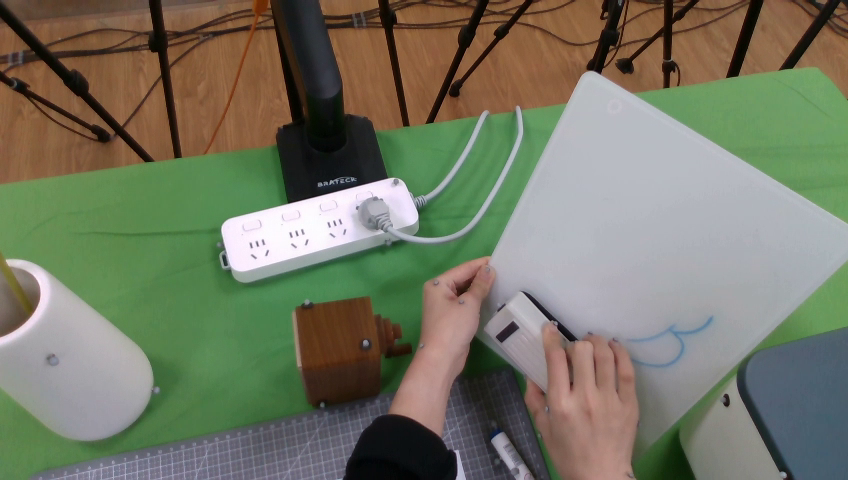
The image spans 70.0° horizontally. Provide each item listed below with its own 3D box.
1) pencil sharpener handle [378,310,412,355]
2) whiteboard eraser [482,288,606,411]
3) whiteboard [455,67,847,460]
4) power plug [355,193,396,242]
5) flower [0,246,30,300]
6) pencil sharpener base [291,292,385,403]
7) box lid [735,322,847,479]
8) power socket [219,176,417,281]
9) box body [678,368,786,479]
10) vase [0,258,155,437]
[{"bbox_3d":[-0.025,0.087,0.559,0.031,0.068,0.035,-8,59,-10],"label":"pencil sharpener handle"},{"bbox_3d":[0.110,0.099,0.557,0.112,0.056,0.042,47,40,8],"label":"whiteboard eraser"},{"bbox_3d":[0.197,0.015,0.556,0.216,0.307,0.144,38,44,18],"label":"whiteboard"},{"bbox_3d":[-0.053,-0.017,0.651,0.035,0.053,0.072,-7,61,-8],"label":"power plug"},{"bbox_3d":[-0.289,0.033,0.433,0.038,0.365,0.043,-21,44,-25],"label":"flower"},{"bbox_3d":[-0.076,0.101,0.560,0.077,0.108,0.061,-8,59,-10],"label":"pencil sharpener base"},{"bbox_3d":[0.405,0.214,0.411,0.264,0.015,0.367,-11,60,-12],"label":"box lid"},{"bbox_3d":[-0.113,-0.015,0.671,0.227,0.033,0.071,-15,62,-14],"label":"power socket"},{"bbox_3d":[0.401,0.256,0.473,0.255,0.161,0.360,-11,60,-11],"label":"box body"},{"bbox_3d":[-0.296,0.092,0.492,0.098,0.201,0.097,1,58,-2],"label":"vase"}]
